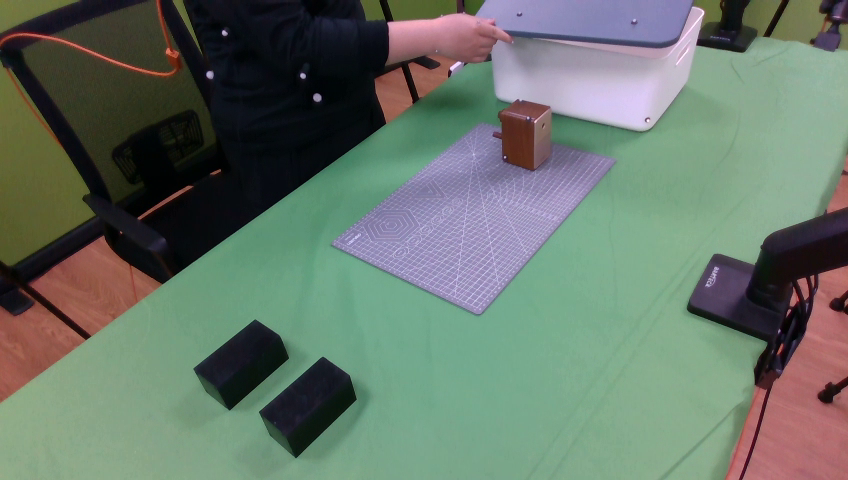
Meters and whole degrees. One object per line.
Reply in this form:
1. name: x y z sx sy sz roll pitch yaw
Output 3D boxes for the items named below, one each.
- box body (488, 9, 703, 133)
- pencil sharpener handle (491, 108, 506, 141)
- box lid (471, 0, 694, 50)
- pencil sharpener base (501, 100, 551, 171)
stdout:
1. box body: 0.346 -0.374 1.251 0.361 0.161 0.255 20 48 29
2. pencil sharpener handle: 0.140 -0.215 1.113 0.030 0.068 0.036 23 39 32
3. box lid: 0.295 -0.437 1.099 0.369 0.015 0.263 14 56 25
4. pencil sharpener base: 0.184 -0.191 1.097 0.076 0.107 0.061 23 49 32
